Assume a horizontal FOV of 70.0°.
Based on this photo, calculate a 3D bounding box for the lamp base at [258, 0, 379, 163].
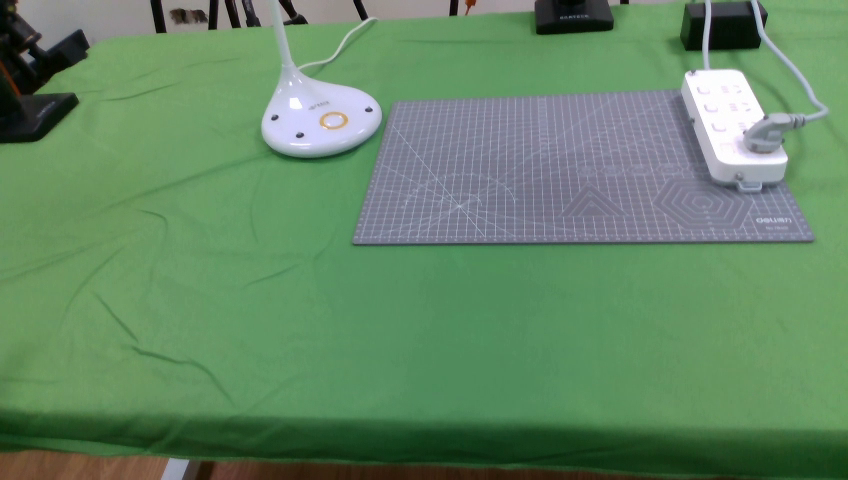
[{"bbox_3d":[-0.157,-0.213,0.765,0.160,0.182,0.177,-36,46,-29],"label":"lamp base"}]

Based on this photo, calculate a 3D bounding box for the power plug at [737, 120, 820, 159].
[{"bbox_3d":[0.364,-0.096,0.625,0.072,0.053,0.035,9,43,16],"label":"power plug"}]

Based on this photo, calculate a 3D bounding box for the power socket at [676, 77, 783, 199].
[{"bbox_3d":[0.346,-0.128,0.700,0.072,0.033,0.225,2,42,8],"label":"power socket"}]
